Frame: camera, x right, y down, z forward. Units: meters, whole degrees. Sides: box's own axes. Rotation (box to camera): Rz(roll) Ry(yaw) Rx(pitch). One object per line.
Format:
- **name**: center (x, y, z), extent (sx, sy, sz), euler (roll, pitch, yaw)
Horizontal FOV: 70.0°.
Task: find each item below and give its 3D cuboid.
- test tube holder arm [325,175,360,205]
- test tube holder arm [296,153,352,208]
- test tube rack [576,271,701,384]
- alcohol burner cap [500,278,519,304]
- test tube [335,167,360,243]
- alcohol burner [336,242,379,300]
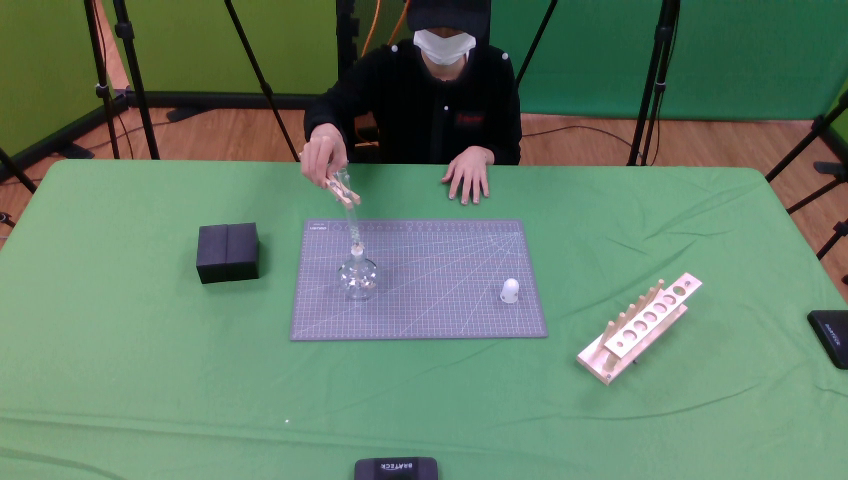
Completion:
- **test tube holder arm**: center (-0.134, -0.082, 0.974), extent (0.010, 0.015, 0.087), euler (-33, 49, -32)
- **test tube holder arm**: center (-0.167, -0.101, 0.998), extent (0.013, 0.015, 0.177), euler (-26, 46, -27)
- **test tube rack**: center (0.373, 0.138, 1.047), extent (0.242, 0.085, 0.066), euler (-31, 56, -29)
- **alcohol burner cap**: center (0.157, 0.090, 1.104), extent (0.034, 0.048, 0.033), euler (2, 46, -2)
- **test tube**: center (-0.121, -0.052, 0.973), extent (0.017, 0.151, 0.017), euler (-3, 42, 3)
- **alcohol burner**: center (-0.118, 0.050, 1.072), extent (0.078, 0.120, 0.077), euler (2, 44, -1)
